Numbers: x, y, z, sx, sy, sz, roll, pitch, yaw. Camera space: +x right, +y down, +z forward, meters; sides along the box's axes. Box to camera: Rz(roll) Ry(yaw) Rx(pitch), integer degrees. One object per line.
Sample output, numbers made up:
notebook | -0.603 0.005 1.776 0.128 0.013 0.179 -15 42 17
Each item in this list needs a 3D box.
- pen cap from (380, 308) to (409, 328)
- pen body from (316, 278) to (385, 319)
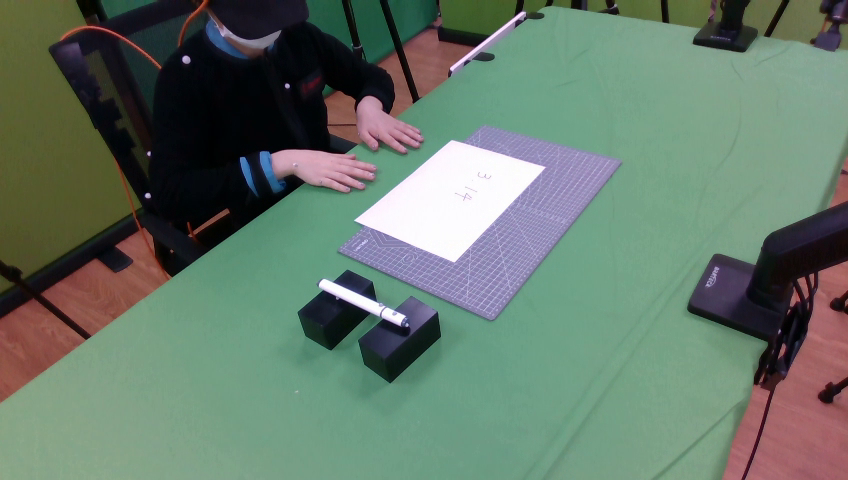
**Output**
pen cap | -0.037 0.102 0.782 0.038 0.017 0.017 19 47 29
pen body | -0.088 0.083 0.813 0.143 0.017 0.017 21 48 29
